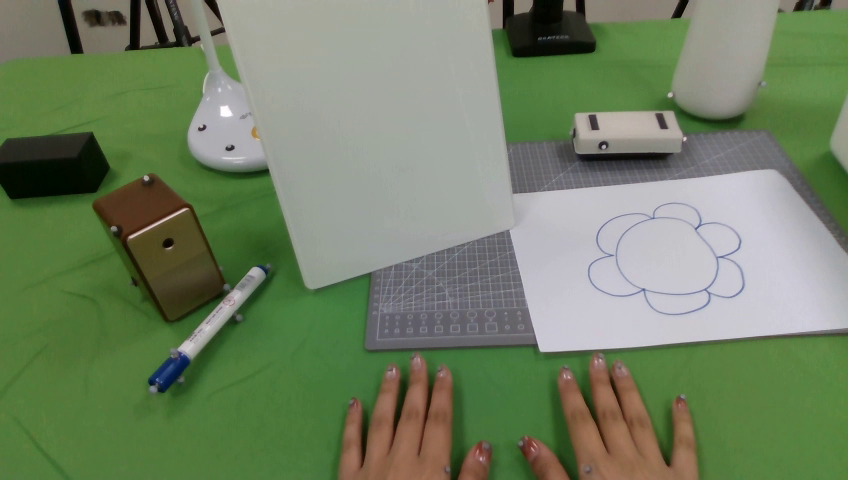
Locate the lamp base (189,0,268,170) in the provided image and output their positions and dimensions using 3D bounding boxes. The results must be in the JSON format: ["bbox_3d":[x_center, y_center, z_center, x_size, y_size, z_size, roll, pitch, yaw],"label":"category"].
[{"bbox_3d":[-0.223,-0.198,0.704,0.177,0.182,0.160,28,52,33],"label":"lamp base"}]

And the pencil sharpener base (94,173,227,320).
[{"bbox_3d":[-0.233,0.006,0.540,0.061,0.108,0.076,-35,50,-28],"label":"pencil sharpener base"}]

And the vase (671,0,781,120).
[{"bbox_3d":[0.348,-0.238,0.685,0.098,0.202,0.097,-2,43,2],"label":"vase"}]

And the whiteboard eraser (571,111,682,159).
[{"bbox_3d":[0.224,-0.117,0.677,0.112,0.042,0.055,-1,41,5],"label":"whiteboard eraser"}]

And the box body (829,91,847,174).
[{"bbox_3d":[0.549,-0.050,0.494,0.254,0.162,0.360,-2,43,4],"label":"box body"}]

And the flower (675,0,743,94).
[{"bbox_3d":[0.353,-0.289,0.618,0.044,0.364,0.038,-20,62,-25],"label":"flower"}]

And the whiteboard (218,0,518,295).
[{"bbox_3d":[-0.054,-0.140,0.578,0.217,0.308,0.142,-17,25,-11],"label":"whiteboard"}]

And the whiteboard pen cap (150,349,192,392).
[{"bbox_3d":[-0.202,0.104,0.486,0.018,0.018,0.033,15,43,20],"label":"whiteboard pen cap"}]

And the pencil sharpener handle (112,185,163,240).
[{"bbox_3d":[-0.267,-0.028,0.561,0.036,0.068,0.030,-40,52,-22],"label":"pencil sharpener handle"}]

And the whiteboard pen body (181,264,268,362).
[{"bbox_3d":[-0.180,0.069,0.529,0.017,0.017,0.140,13,42,18],"label":"whiteboard pen body"}]
